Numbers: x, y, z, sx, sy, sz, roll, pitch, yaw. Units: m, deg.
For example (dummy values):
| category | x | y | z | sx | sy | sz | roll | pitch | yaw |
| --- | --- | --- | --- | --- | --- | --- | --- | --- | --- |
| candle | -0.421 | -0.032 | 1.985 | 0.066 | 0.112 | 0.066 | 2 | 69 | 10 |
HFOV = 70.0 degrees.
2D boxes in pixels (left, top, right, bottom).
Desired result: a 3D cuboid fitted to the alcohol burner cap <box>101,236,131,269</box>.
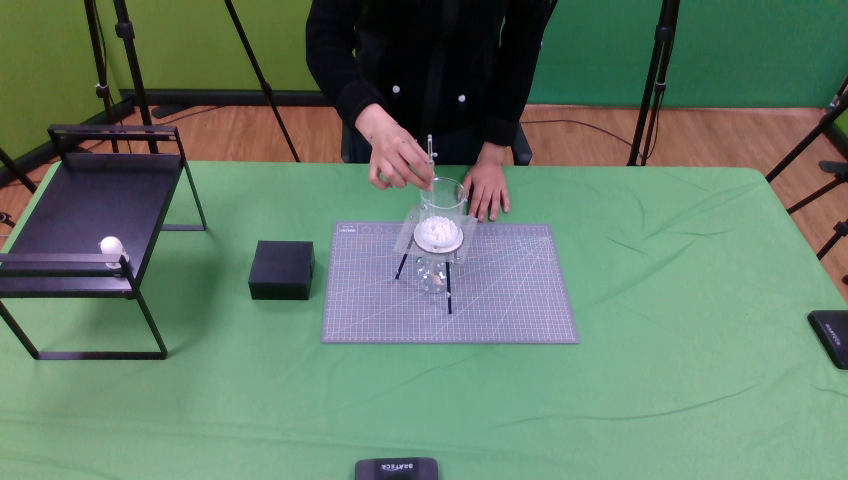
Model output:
| category | x | y | z | sx | sy | sz | roll | pitch | yaw |
| --- | --- | --- | --- | --- | --- | --- | --- | --- | --- |
| alcohol burner cap | -0.452 | 0.016 | 0.883 | 0.034 | 0.048 | 0.033 | 2 | 47 | -1 |

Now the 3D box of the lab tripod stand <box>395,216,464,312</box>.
| category | x | y | z | sx | sy | sz | roll | pitch | yaw |
| --- | --- | --- | --- | --- | --- | --- | --- | --- | --- |
| lab tripod stand | 0.023 | 0.037 | 1.084 | 0.148 | 0.132 | 0.147 | 4 | 46 | -4 |

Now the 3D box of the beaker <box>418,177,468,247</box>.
| category | x | y | z | sx | sy | sz | roll | pitch | yaw |
| --- | --- | --- | --- | --- | --- | --- | --- | --- | --- |
| beaker | 0.026 | -0.045 | 1.004 | 0.074 | 0.101 | 0.083 | -20 | 51 | -22 |

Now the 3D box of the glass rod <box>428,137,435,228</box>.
| category | x | y | z | sx | sy | sz | roll | pitch | yaw |
| --- | --- | --- | --- | --- | --- | --- | --- | --- | --- |
| glass rod | 0.013 | -0.085 | 0.961 | 0.008 | 0.201 | 0.008 | -1 | 50 | 2 |

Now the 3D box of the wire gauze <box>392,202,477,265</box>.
| category | x | y | z | sx | sy | sz | roll | pitch | yaw |
| --- | --- | --- | --- | --- | --- | --- | --- | --- | --- |
| wire gauze | 0.021 | -0.011 | 1.037 | 0.121 | 0.011 | 0.124 | 13 | 49 | 8 |

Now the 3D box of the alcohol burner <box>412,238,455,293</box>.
| category | x | y | z | sx | sy | sz | roll | pitch | yaw |
| --- | --- | --- | --- | --- | --- | --- | --- | --- | --- |
| alcohol burner | 0.019 | 0.040 | 1.094 | 0.078 | 0.119 | 0.077 | 3 | 45 | -3 |
